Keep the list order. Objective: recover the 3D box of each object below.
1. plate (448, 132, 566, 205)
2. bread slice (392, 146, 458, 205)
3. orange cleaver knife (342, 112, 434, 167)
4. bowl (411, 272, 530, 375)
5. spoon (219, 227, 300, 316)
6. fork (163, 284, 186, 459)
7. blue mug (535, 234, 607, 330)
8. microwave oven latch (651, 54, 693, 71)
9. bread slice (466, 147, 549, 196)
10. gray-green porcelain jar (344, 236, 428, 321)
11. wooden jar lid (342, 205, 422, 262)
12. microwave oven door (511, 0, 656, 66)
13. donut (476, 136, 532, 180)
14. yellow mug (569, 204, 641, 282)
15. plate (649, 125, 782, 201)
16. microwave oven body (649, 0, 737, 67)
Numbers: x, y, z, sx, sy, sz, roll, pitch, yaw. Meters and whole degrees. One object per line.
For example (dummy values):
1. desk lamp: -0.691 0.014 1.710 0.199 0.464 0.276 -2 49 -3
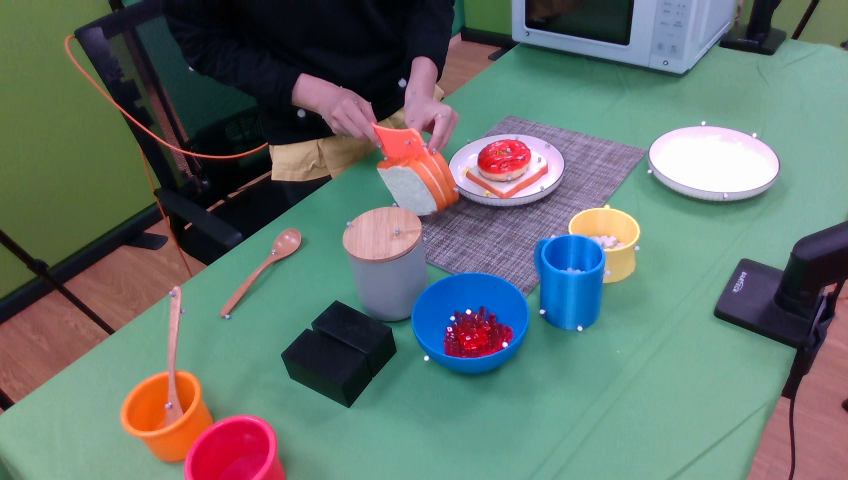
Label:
1. plate: 0.146 -0.124 1.076 0.209 0.038 0.208 -3 41 3
2. bread slice: 0.002 -0.102 0.981 0.018 0.107 0.133 -35 26 -27
3. orange cleaver knife: -0.061 -0.165 0.982 0.012 0.077 0.209 -39 41 -25
4. bowl: 0.061 0.120 0.780 0.151 0.077 0.150 -4 40 4
5. spoon: -0.261 0.046 0.954 0.041 0.021 0.194 27 48 10
6. fork: -0.302 0.157 0.733 0.028 0.019 0.207 -3 84 15
7. blue mug: 0.191 0.048 0.824 0.082 0.106 0.115 -26 44 -20
8. microwave oven latch: 0.531 -0.386 1.301 0.078 0.029 0.030 26 51 33
9. bread slice: 0.156 -0.129 1.085 0.132 0.019 0.104 -34 49 -23
10. gray-green porcelain jar: -0.049 0.042 0.849 0.106 0.127 0.105 -4 41 4
11. wooden jar lid: -0.055 -0.005 0.808 0.108 0.021 0.108 -6 40 6
12. microwave oven door: 0.351 -0.540 1.349 0.353 0.245 0.039 24 50 31
13. donut: 0.140 -0.146 1.058 0.099 0.048 0.098 -7 41 6
14. yellow mug: 0.268 -0.005 0.904 0.099 0.064 0.130 7 41 15
15. plate: 0.493 -0.127 1.036 0.207 0.039 0.206 -4 41 4
16. microwave oven body: 0.475 -0.602 1.411 0.438 0.261 0.327 23 50 32
